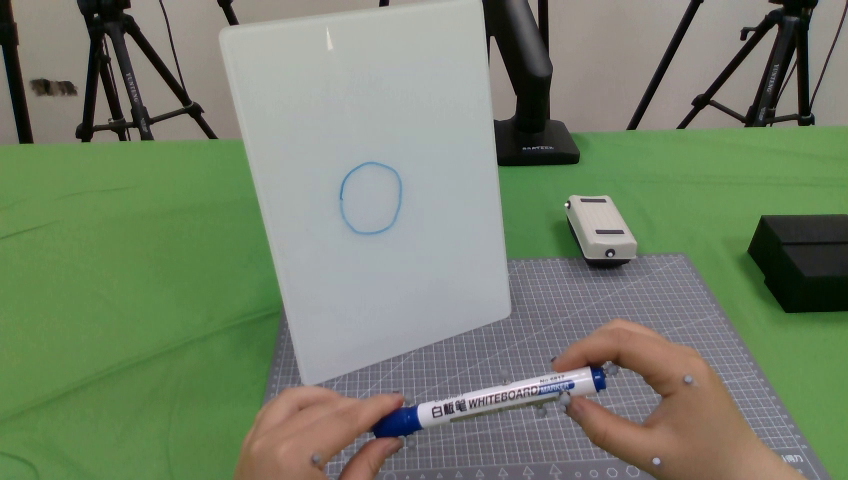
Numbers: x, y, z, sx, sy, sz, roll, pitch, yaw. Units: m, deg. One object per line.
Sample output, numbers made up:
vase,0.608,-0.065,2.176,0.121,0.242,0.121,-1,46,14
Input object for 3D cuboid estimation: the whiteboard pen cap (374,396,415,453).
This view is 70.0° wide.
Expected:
whiteboard pen cap,-0.018,0.116,0.381,0.018,0.033,0.018,25,11,-5

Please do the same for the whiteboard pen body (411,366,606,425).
whiteboard pen body,0.039,0.097,0.365,0.140,0.017,0.017,-16,34,16

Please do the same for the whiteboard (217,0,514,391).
whiteboard,-0.055,-0.054,0.576,0.218,0.307,0.142,-16,21,-20

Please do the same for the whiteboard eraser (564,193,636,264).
whiteboard eraser,0.200,-0.014,0.699,0.055,0.042,0.111,-2,33,-1
